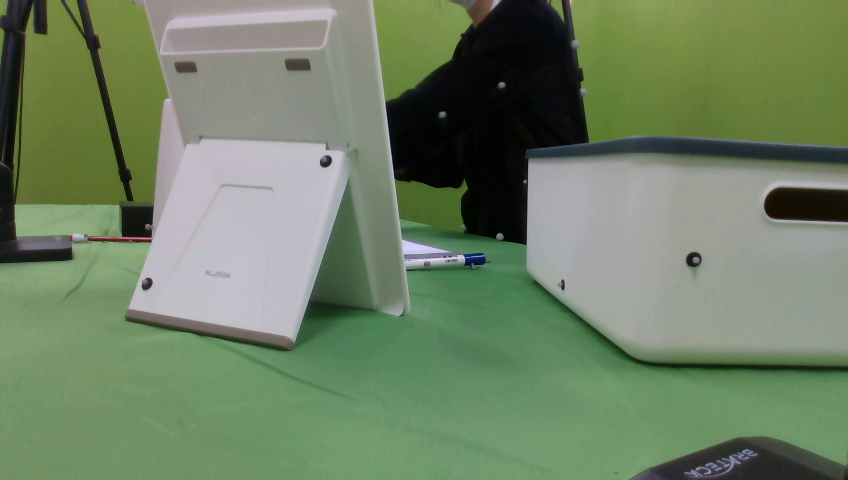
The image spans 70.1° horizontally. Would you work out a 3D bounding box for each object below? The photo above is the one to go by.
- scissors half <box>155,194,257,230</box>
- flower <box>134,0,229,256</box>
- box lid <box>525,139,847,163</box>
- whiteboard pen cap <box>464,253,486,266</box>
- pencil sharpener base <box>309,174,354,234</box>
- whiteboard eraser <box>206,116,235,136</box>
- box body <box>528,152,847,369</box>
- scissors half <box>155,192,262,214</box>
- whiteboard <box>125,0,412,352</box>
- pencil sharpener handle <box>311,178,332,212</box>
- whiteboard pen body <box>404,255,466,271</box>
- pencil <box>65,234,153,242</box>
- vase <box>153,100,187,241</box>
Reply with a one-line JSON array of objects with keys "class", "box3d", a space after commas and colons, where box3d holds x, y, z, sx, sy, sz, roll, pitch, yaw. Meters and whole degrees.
[{"class": "scissors half", "box3d": [-0.378, -0.051, 1.059, 0.176, 0.040, 0.012, 20, 22, -31]}, {"class": "flower", "box3d": [-0.282, -0.147, 0.713, 0.038, 0.362, 0.044, -23, 23, -31]}, {"class": "box lid", "box3d": [0.261, -0.078, 0.580, 0.264, 0.015, 0.371, 2, 7, -4]}, {"class": "whiteboard pen cap", "box3d": [0.066, 0.027, 0.818, 0.033, 0.018, 0.018, -6, 10, -23]}, {"class": "pencil sharpener base", "box3d": [-0.176, -0.070, 1.139, 0.062, 0.107, 0.076, -3, 9, -32]}, {"class": "whiteboard eraser", "box3d": [-0.450, -0.252, 1.335, 0.056, 0.042, 0.112, 1, 7, -22]}, {"class": "box body", "box3d": [0.257, -0.005, 0.591, 0.254, 0.160, 0.363, 2, 7, -4]}, {"class": "scissors half", "box3d": [-0.371, -0.069, 1.051, 0.176, 0.040, 0.013, 2, 25, -24]}, {"class": "whiteboard", "box3d": [-0.151, -0.049, 0.471, 0.216, 0.305, 0.144, 6, 27, 24]}, {"class": "pencil sharpener handle", "box3d": [-0.205, -0.088, 1.179, 0.036, 0.067, 0.030, 10, 2, -33]}, {"class": "whiteboard pen body", "box3d": [0.012, 0.030, 0.792, 0.141, 0.017, 0.017, -3, 9, -24]}, {"class": "pencil", "box3d": [-0.429, -0.001, 0.911, 0.195, 0.012, 0.012, 2, 7, -19]}, {"class": "vase", "box3d": [-0.278, -0.066, 0.736, 0.098, 0.200, 0.098, 2, 9, 0]}]
